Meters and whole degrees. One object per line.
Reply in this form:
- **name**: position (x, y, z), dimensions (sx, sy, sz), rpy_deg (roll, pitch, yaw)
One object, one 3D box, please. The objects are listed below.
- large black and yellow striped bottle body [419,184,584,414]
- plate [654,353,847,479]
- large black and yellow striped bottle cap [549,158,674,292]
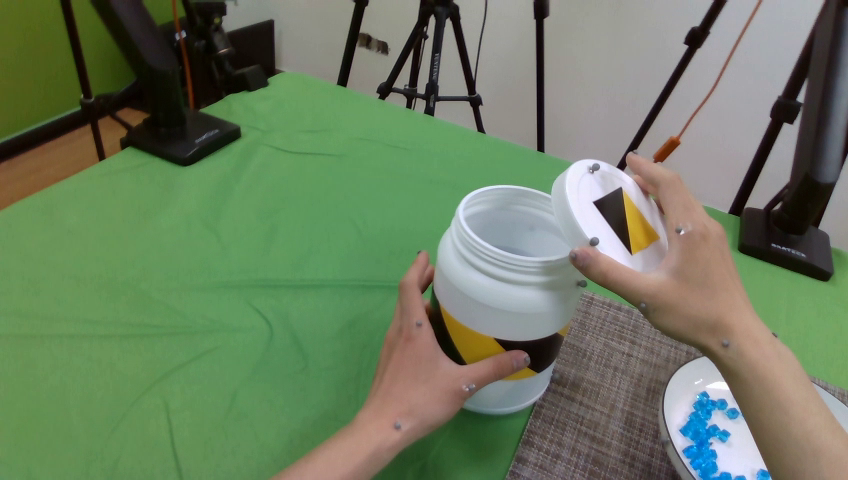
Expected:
- **large black and yellow striped bottle body**: position (0.069, 0.054, 0.554), dimensions (0.131, 0.185, 0.129), rpy_deg (6, 38, -4)
- **plate**: position (0.307, 0.191, 0.542), dimensions (0.208, 0.039, 0.205), rpy_deg (6, 37, -4)
- **large black and yellow striped bottle cap**: position (0.148, -0.014, 0.472), dimensions (0.116, 0.019, 0.114), rpy_deg (20, 50, -24)
